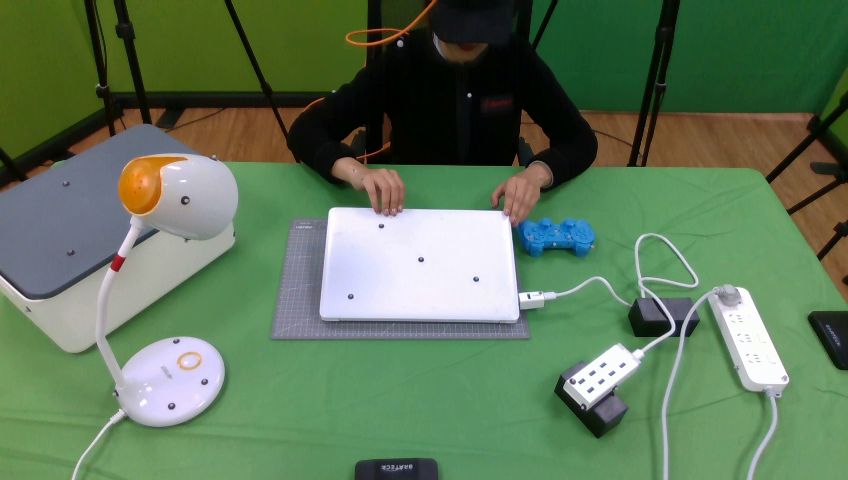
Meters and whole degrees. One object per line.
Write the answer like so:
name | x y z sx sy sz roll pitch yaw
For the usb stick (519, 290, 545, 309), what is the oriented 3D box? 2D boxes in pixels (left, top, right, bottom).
usb stick | 0.186 0.108 1.085 0.059 0.027 0.021 -8 46 -1

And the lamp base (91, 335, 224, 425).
lamp base | -0.401 0.171 0.892 0.160 0.181 0.179 30 53 23

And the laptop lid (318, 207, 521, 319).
laptop lid | -0.007 0.037 1.108 0.357 0.013 0.240 2 57 -2

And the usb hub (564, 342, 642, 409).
usb hub | 0.278 0.208 0.942 0.125 0.025 0.049 -27 52 -28

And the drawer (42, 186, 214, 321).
drawer | -0.529 0.018 1.097 0.194 0.073 0.211 29 53 20

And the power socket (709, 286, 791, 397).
power socket | 0.568 0.167 1.064 0.072 0.033 0.225 2 46 -1

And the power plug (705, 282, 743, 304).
power plug | 0.539 0.097 1.098 0.072 0.053 0.035 8 47 8

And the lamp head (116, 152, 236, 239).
lamp head | -0.315 -0.057 0.748 0.112 0.112 0.123 26 10 20

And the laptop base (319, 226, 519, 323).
laptop base | -0.010 0.063 1.138 0.354 0.023 0.234 1 43 -3

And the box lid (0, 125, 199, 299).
box lid | -0.540 -0.068 1.016 0.262 0.015 0.371 30 51 23

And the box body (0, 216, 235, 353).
box body | -0.550 -0.007 1.068 0.253 0.161 0.363 30 51 23

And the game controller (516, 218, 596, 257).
game controller | 0.267 -0.015 1.212 0.155 0.052 0.096 0 50 -3
